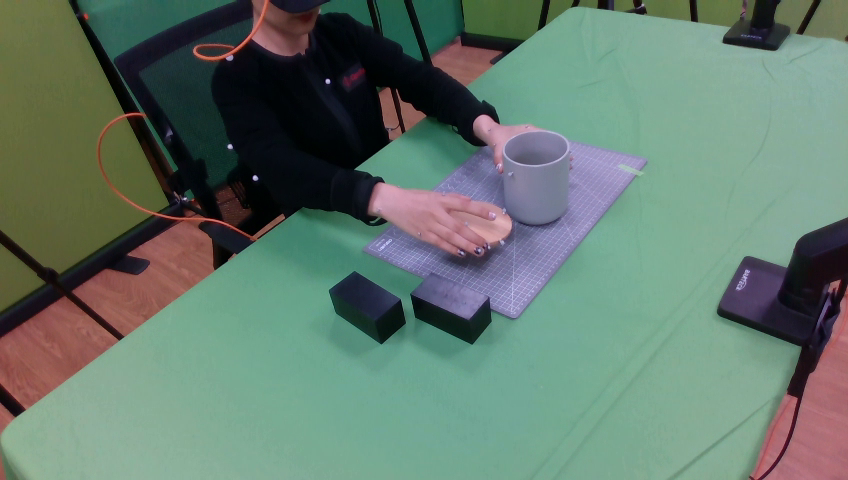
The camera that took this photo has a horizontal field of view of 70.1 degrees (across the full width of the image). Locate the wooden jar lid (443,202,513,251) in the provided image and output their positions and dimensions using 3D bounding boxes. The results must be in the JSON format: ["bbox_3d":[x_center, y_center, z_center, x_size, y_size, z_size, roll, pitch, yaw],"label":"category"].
[{"bbox_3d":[0.082,-0.020,0.929,0.108,0.021,0.108,3,39,-2],"label":"wooden jar lid"}]

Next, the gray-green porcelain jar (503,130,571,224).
[{"bbox_3d":[0.183,-0.097,0.977,0.106,0.127,0.105,-6,40,5],"label":"gray-green porcelain jar"}]
